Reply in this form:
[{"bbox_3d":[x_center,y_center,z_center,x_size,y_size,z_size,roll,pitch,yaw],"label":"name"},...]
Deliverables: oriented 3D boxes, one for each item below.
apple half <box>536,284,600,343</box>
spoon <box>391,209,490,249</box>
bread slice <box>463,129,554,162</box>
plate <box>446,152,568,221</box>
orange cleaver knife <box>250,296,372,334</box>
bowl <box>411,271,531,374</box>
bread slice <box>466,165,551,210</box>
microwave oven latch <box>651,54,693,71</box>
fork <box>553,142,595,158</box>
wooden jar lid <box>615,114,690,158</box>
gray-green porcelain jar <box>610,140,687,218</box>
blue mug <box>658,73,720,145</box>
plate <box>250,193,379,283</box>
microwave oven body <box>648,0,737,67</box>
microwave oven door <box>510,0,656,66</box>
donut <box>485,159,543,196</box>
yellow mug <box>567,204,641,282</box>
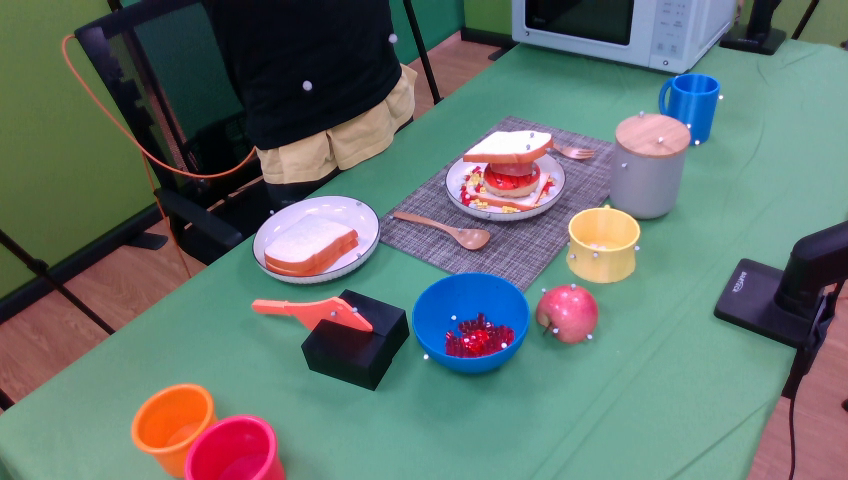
[{"bbox_3d":[0.196,0.091,0.815,0.075,0.053,0.080,-22,42,-20],"label":"apple half"},{"bbox_3d":[0.023,-0.025,0.989,0.192,0.022,0.041,20,71,28],"label":"spoon"},{"bbox_3d":[0.143,-0.154,0.974,0.130,0.019,0.105,9,35,38],"label":"bread slice"},{"bbox_3d":[0.143,-0.097,1.045,0.207,0.039,0.206,-4,40,4],"label":"plate"},{"bbox_3d":[-0.159,0.103,0.828,0.210,0.078,0.012,-3,43,39],"label":"orange cleaver knife"},{"bbox_3d":[0.062,0.119,0.780,0.151,0.077,0.150,-4,40,4],"label":"bowl"},{"bbox_3d":[0.141,-0.093,1.041,0.133,0.018,0.107,8,42,20],"label":"bread slice"},{"bbox_3d":[0.532,-0.386,1.301,0.078,0.029,0.030,27,52,34],"label":"microwave oven latch"},{"bbox_3d":[0.225,-0.186,1.151,0.206,0.019,0.028,21,59,27],"label":"fork"},{"bbox_3d":[0.347,-0.155,0.923,0.108,0.021,0.108,-3,44,4],"label":"wooden jar lid"},{"bbox_3d":[0.354,-0.106,0.964,0.106,0.127,0.105,-4,41,4],"label":"gray-green porcelain jar"},{"bbox_3d":[0.483,-0.250,1.127,0.082,0.106,0.115,-25,44,-19],"label":"blue mug"},{"bbox_3d":[-0.174,-0.001,0.984,0.209,0.038,0.208,-4,40,4],"label":"plate"},{"bbox_3d":[0.475,-0.602,1.411,0.438,0.261,0.327,23,50,32],"label":"microwave oven body"},{"bbox_3d":[0.350,-0.539,1.349,0.353,0.245,0.039,24,50,31],"label":"microwave oven door"},{"bbox_3d":[0.151,-0.112,1.018,0.099,0.048,0.098,-4,40,4],"label":"donut"},{"bbox_3d":[0.268,-0.005,0.905,0.099,0.064,0.130,6,42,16],"label":"yellow mug"}]
